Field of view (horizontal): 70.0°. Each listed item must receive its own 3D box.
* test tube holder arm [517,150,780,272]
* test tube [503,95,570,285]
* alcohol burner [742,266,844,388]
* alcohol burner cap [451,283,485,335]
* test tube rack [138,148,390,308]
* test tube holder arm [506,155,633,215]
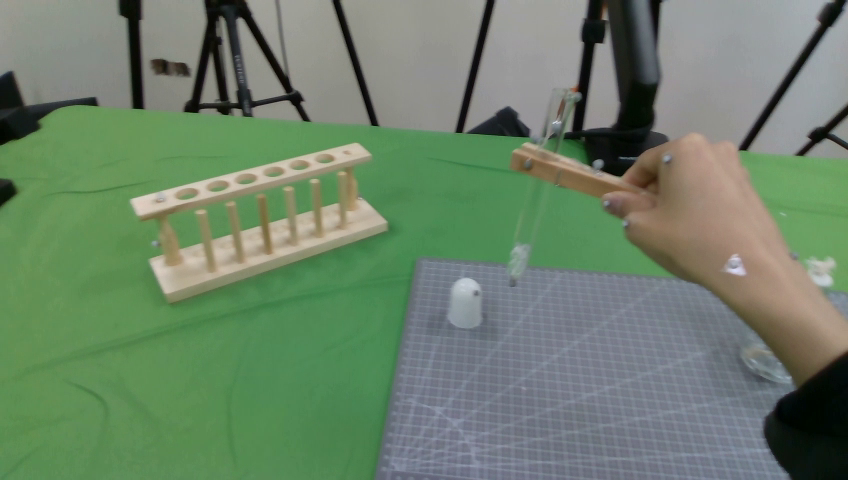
[{"bbox_3d":[0.137,-0.023,0.395,0.177,0.015,0.013,27,39,26],"label":"test tube holder arm"},{"bbox_3d":[0.078,-0.030,0.433,0.017,0.151,0.017,7,32,-4],"label":"test tube"},{"bbox_3d":[0.315,0.067,0.508,0.078,0.120,0.077,1,38,-1],"label":"alcohol burner"},{"bbox_3d":[0.042,0.062,0.567,0.034,0.048,0.033,1,36,-1],"label":"alcohol burner cap"},{"bbox_3d":[-0.157,-0.019,0.639,0.243,0.086,0.066,-19,40,-27],"label":"test tube rack"},{"bbox_3d":[0.097,-0.038,0.409,0.087,0.015,0.010,22,37,21],"label":"test tube holder arm"}]
